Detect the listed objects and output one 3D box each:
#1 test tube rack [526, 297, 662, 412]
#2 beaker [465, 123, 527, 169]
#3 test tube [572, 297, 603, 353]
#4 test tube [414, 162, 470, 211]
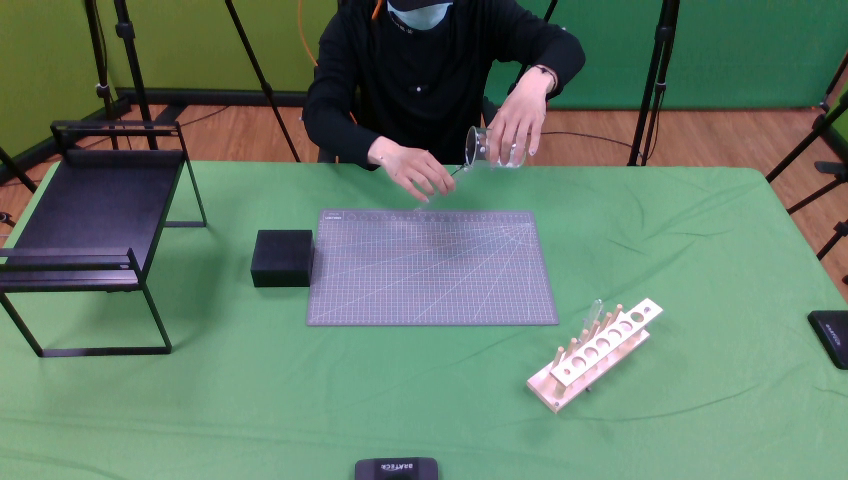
[{"bbox_3d":[0.284,0.176,1.007,0.242,0.085,0.066,-29,54,-27],"label":"test tube rack"},{"bbox_3d":[0.133,-0.169,1.120,0.100,0.084,0.073,3,25,-10],"label":"beaker"},{"bbox_3d":[0.263,0.141,0.977,0.017,0.151,0.017,2,47,-2],"label":"test tube"},{"bbox_3d":[0.033,-0.102,1.172,0.017,0.150,0.017,31,38,-28],"label":"test tube"}]
